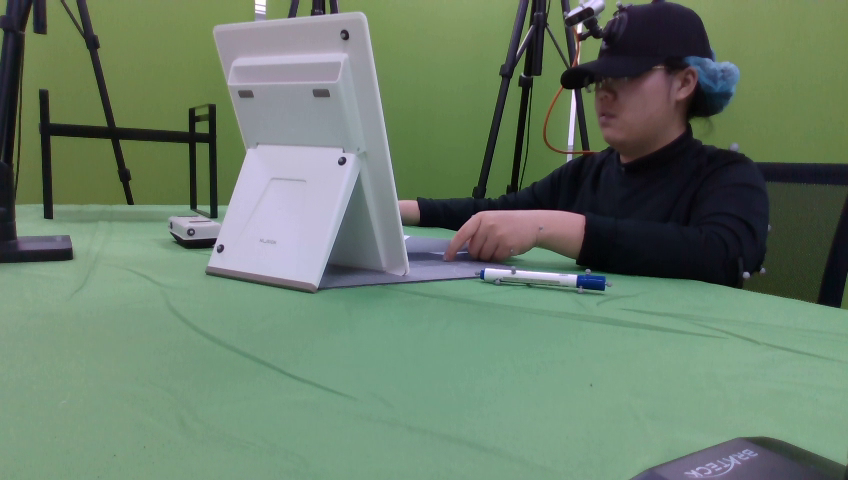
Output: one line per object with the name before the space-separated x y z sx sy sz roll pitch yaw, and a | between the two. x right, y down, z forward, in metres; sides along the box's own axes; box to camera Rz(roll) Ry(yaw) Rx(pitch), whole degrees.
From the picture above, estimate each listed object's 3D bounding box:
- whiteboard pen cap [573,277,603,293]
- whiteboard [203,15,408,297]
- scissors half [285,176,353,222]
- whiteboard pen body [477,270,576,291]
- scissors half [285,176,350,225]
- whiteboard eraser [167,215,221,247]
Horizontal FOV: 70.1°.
whiteboard pen cap | 0.186 0.051 0.687 0.033 0.018 0.018 4 8 17
whiteboard | -0.166 -0.072 0.669 0.216 0.305 0.144 8 30 30
scissors half | -0.232 -0.092 1.337 0.175 0.013 0.040 33 12 -11
whiteboard pen body | 0.131 0.048 0.706 0.140 0.017 0.017 4 8 18
scissors half | -0.235 -0.087 1.318 0.175 0.013 0.040 37 18 6
whiteboard eraser | -0.350 -0.014 0.920 0.056 0.042 0.112 0 7 -35
